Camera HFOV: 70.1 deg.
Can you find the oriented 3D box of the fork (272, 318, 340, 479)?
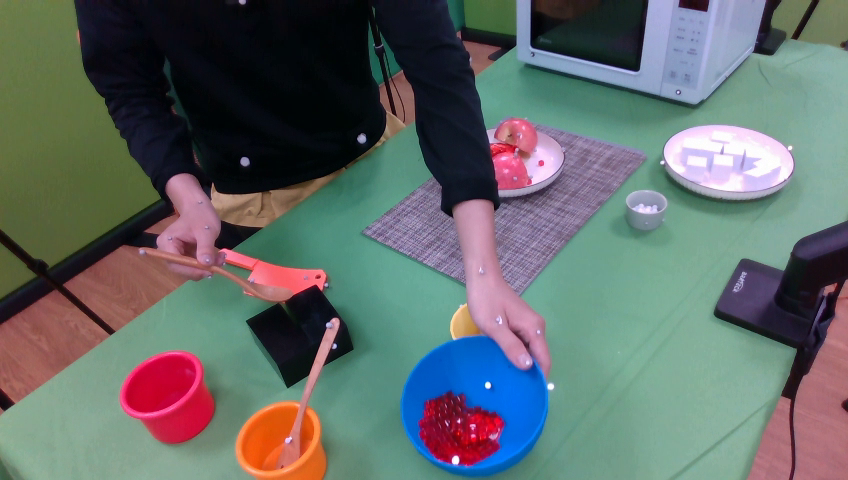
[{"bbox_3d":[-0.132,0.186,0.676,0.028,0.019,0.207,17,90,28],"label":"fork"}]

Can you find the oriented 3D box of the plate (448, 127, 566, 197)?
[{"bbox_3d":[0.150,-0.138,1.096,0.209,0.038,0.208,-4,40,4],"label":"plate"}]

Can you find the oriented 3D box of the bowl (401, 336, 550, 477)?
[{"bbox_3d":[0.058,0.182,0.626,0.151,0.077,0.150,-9,42,9],"label":"bowl"}]

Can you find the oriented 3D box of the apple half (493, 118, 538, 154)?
[{"bbox_3d":[0.175,-0.196,1.114,0.080,0.053,0.075,29,12,34],"label":"apple half"}]

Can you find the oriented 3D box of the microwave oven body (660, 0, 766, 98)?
[{"bbox_3d":[0.473,-0.513,1.317,0.438,0.261,0.327,26,51,34],"label":"microwave oven body"}]

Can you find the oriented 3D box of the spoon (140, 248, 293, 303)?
[{"bbox_3d":[-0.257,0.043,0.763,0.195,0.021,0.041,26,15,-29],"label":"spoon"}]

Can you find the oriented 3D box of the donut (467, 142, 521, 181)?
[{"bbox_3d":[0.126,-0.144,1.090,0.099,0.048,0.098,-5,36,5],"label":"donut"}]

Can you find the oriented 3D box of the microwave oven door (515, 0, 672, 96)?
[{"bbox_3d":[0.343,-0.454,1.259,0.353,0.245,0.039,26,51,33],"label":"microwave oven door"}]

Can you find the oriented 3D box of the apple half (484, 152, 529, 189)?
[{"bbox_3d":[0.144,-0.116,1.032,0.081,0.033,0.081,3,77,-11],"label":"apple half"}]

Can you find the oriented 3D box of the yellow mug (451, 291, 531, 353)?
[{"bbox_3d":[0.085,0.120,0.786,0.100,0.064,0.130,-7,40,1],"label":"yellow mug"}]

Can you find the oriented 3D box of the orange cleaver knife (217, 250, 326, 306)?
[{"bbox_3d":[-0.248,0.058,0.945,0.210,0.012,0.077,12,48,20],"label":"orange cleaver knife"}]

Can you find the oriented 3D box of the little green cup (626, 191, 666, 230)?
[{"bbox_3d":[0.352,-0.046,0.963,0.061,0.039,0.061,-4,40,4],"label":"little green cup"}]

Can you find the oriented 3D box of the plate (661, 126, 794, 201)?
[{"bbox_3d":[0.513,-0.127,1.036,0.207,0.039,0.206,-4,40,4],"label":"plate"}]

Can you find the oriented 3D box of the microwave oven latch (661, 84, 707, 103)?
[{"bbox_3d":[0.517,-0.296,1.204,0.078,0.029,0.030,27,52,34],"label":"microwave oven latch"}]
